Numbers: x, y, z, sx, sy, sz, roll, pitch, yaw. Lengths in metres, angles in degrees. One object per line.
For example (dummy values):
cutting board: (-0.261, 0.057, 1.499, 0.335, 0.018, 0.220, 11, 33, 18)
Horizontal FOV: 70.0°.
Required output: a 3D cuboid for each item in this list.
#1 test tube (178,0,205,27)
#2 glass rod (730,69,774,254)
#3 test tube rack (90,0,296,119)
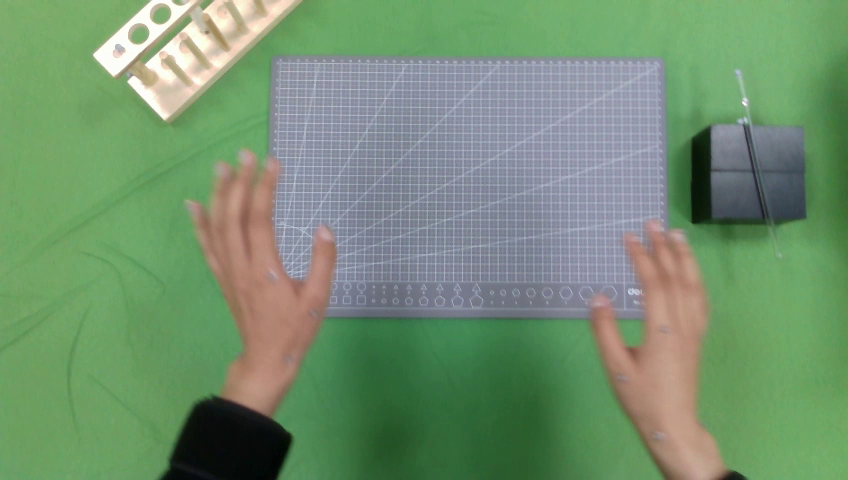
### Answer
test tube: (-0.253, -0.262, 0.612, 0.017, 0.151, 0.017, 0, 78, 2)
glass rod: (0.345, -0.084, 0.637, 0.008, 0.008, 0.199, -9, 85, -1)
test tube rack: (-0.231, -0.250, 0.661, 0.242, 0.085, 0.066, -45, 85, -4)
